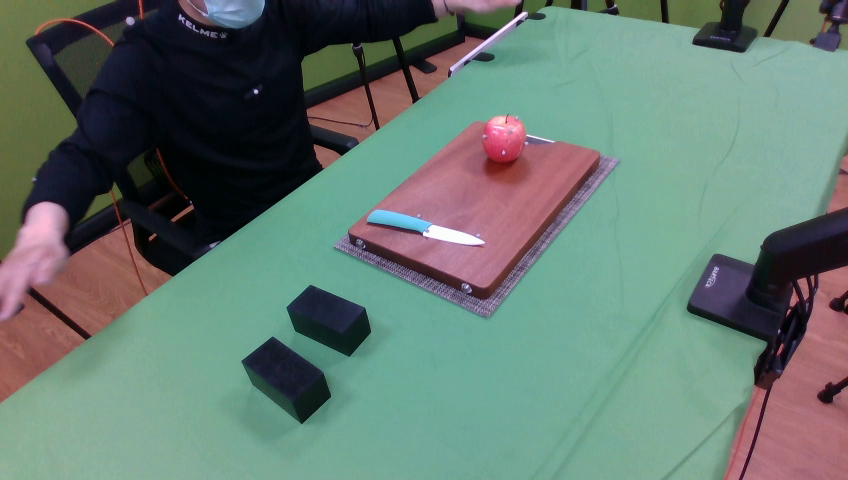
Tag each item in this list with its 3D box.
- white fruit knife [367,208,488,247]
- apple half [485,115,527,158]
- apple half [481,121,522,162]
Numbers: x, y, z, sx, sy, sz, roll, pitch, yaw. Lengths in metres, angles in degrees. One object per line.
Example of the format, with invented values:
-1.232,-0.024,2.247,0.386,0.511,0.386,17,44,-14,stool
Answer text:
0.004,-0.019,0.952,0.206,0.016,0.027,15,75,21,white fruit knife
0.149,-0.188,1.082,0.080,0.075,0.053,13,40,28,apple half
0.130,-0.165,1.057,0.081,0.081,0.033,16,42,25,apple half
